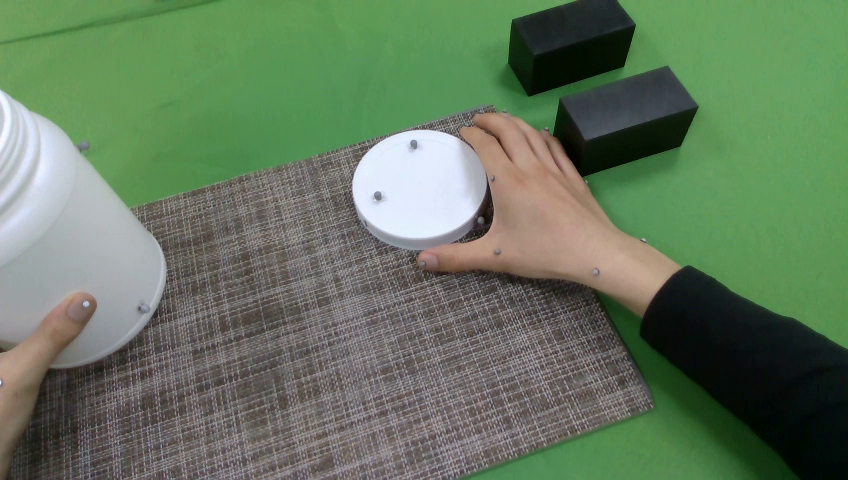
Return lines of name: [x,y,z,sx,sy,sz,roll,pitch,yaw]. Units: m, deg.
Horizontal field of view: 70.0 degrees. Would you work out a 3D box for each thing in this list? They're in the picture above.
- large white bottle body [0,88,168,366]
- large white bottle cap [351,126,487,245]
large white bottle body: [-0.272,-0.005,0.406,0.130,0.186,0.129,-2,59,3]
large white bottle cap: [-0.003,-0.048,0.511,0.115,0.018,0.114,-1,60,3]
